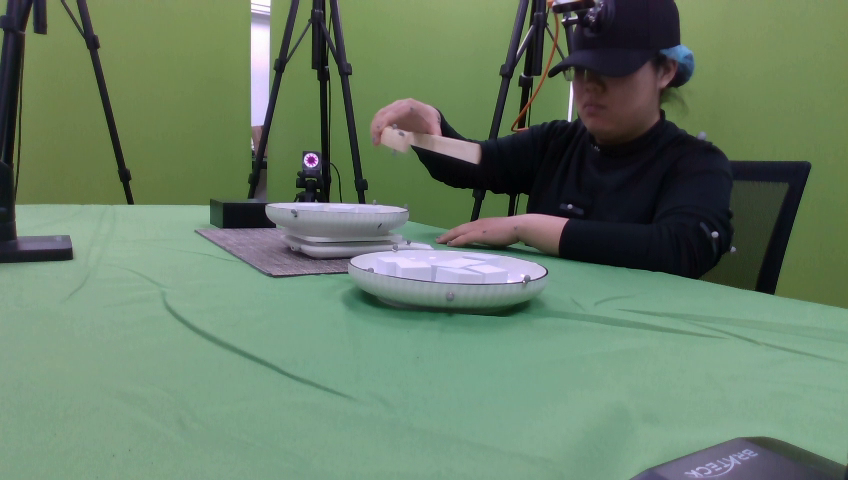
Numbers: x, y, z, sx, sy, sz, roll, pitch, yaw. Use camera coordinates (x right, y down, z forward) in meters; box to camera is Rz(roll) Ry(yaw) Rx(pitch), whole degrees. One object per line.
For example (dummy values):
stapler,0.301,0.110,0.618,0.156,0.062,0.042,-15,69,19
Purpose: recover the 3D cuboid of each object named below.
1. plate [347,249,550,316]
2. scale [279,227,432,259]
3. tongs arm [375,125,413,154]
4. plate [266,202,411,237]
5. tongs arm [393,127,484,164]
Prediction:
plate,0.025,0.042,0.627,0.209,0.038,0.209,2,7,0
scale,-0.100,0.001,0.899,0.202,0.031,0.148,-1,9,-31
tongs arm,-0.038,-0.152,0.900,0.051,0.026,0.383,4,11,-14
plate,-0.123,-0.030,0.879,0.208,0.039,0.207,2,6,0
tongs arm,0.012,-0.147,0.914,0.028,0.028,0.386,0,13,-17
